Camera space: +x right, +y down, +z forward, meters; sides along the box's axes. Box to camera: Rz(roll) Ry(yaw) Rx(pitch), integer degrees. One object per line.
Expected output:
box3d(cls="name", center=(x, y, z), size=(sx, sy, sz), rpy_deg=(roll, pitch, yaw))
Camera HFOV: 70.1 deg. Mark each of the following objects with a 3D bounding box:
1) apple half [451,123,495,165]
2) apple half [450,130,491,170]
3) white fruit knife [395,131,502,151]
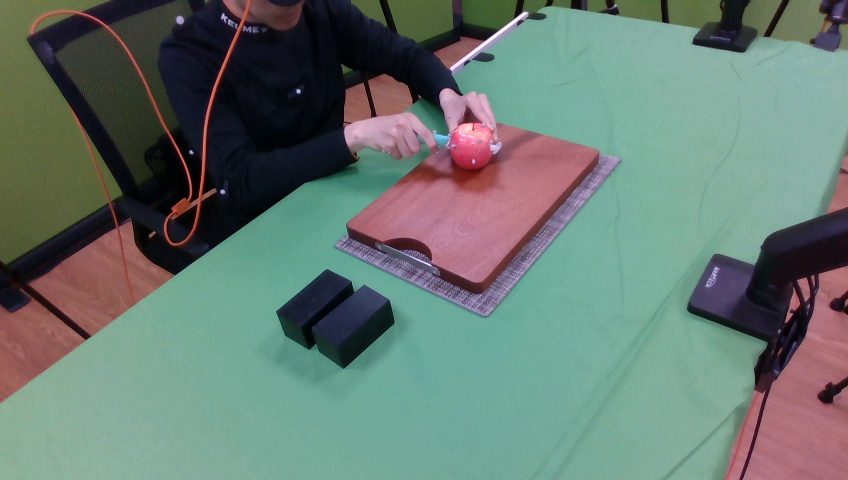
box3d(cls="apple half", center=(0.091, -0.173, 1.075), size=(0.080, 0.075, 0.053), rpy_deg=(8, 38, 24))
box3d(cls="apple half", center=(0.076, -0.149, 1.047), size=(0.081, 0.081, 0.033), rpy_deg=(12, 43, 21))
box3d(cls="white fruit knife", center=(0.040, -0.174, 1.067), size=(0.206, 0.027, 0.016), rpy_deg=(10, 43, 22))
